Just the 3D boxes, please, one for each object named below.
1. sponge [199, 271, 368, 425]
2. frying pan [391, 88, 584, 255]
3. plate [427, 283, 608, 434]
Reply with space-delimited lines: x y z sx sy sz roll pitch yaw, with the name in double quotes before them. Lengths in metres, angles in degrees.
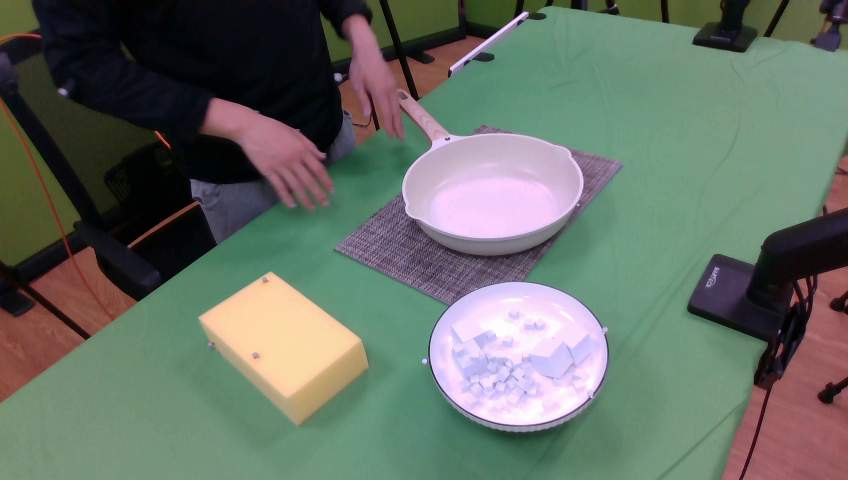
"sponge" -0.189 0.136 0.807 0.205 0.061 0.118 29 52 35
"frying pan" 0.063 -0.143 1.056 0.308 0.103 0.483 -22 51 -18
"plate" 0.108 0.137 0.708 0.207 0.039 0.206 -4 42 4
